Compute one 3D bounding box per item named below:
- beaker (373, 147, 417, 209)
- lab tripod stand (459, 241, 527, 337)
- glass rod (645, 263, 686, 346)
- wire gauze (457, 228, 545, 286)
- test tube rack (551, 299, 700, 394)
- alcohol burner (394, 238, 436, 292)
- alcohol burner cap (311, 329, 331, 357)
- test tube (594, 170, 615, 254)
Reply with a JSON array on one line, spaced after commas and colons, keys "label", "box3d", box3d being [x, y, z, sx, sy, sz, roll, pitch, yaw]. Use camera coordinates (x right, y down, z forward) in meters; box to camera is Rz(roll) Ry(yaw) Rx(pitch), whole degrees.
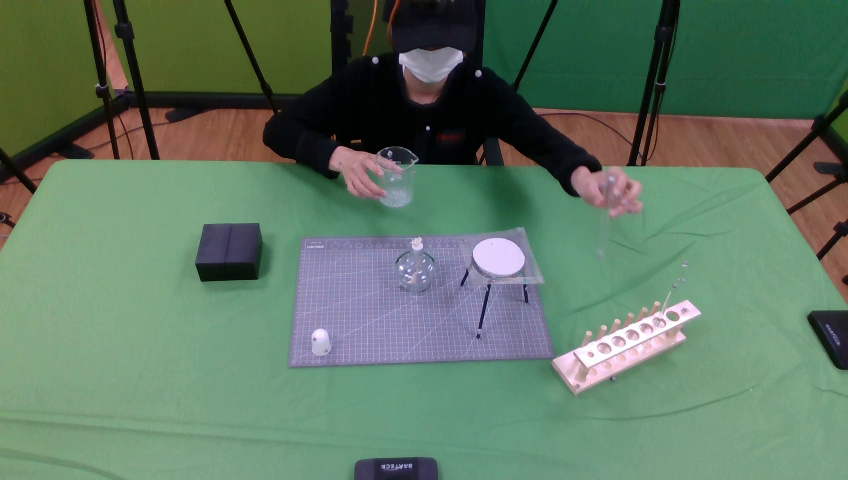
[{"label": "beaker", "box3d": [-0.055, -0.117, 1.157, 0.084, 0.101, 0.073, -7, 47, -9]}, {"label": "lab tripod stand", "box3d": [0.122, 0.075, 1.054, 0.148, 0.132, 0.147, 3, 44, -3]}, {"label": "glass rod", "box3d": [0.391, 0.110, 0.986, 0.008, 0.200, 0.008, 2, 42, -1]}, {"label": "wire gauze", "box3d": [0.126, 0.029, 1.006, 0.125, 0.011, 0.120, -4, 46, -10]}, {"label": "test tube rack", "box3d": [0.339, 0.166, 1.021, 0.242, 0.085, 0.066, -19, 50, -21]}, {"label": "alcohol burner", "box3d": [-0.016, 0.038, 1.093, 0.078, 0.119, 0.077, 2, 48, -2]}, {"label": "alcohol burner cap", "box3d": [-0.173, 0.168, 1.004, 0.034, 0.048, 0.033, 2, 46, -2]}, {"label": "test tube", "box3d": [0.278, -0.041, 0.935, 0.017, 0.151, 0.017, -3, 36, 2]}]
